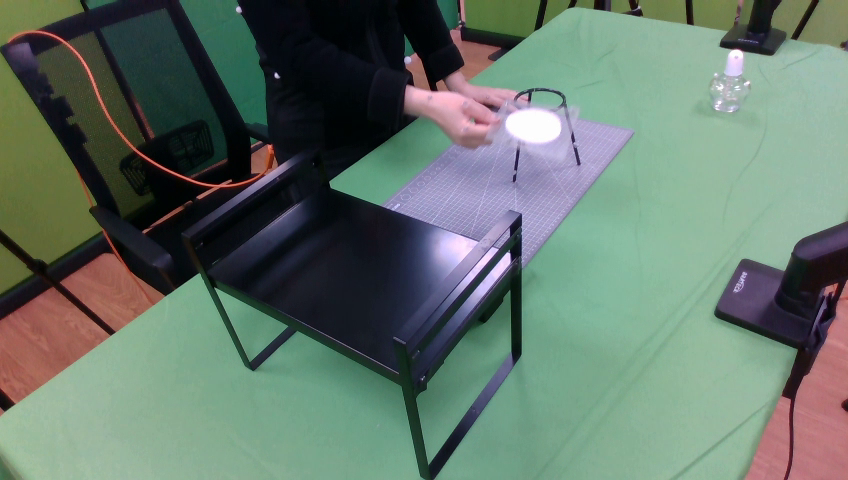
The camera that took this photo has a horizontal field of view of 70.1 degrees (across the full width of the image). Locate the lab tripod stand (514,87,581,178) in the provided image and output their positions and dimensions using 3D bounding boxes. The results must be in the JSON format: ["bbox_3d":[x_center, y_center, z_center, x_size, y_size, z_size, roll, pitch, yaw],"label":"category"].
[{"bbox_3d":[0.211,-0.196,1.083,0.148,0.132,0.147,-3,40,3],"label":"lab tripod stand"}]

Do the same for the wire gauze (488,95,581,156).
[{"bbox_3d":[0.172,-0.182,0.931,0.124,0.011,0.121,14,51,15],"label":"wire gauze"}]

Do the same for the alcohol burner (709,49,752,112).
[{"bbox_3d":[0.600,-0.313,1.179,0.078,0.119,0.077,-6,40,5],"label":"alcohol burner"}]

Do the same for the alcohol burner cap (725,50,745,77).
[{"bbox_3d":[0.596,-0.340,1.154,0.034,0.048,0.033,-8,45,8],"label":"alcohol burner cap"}]
